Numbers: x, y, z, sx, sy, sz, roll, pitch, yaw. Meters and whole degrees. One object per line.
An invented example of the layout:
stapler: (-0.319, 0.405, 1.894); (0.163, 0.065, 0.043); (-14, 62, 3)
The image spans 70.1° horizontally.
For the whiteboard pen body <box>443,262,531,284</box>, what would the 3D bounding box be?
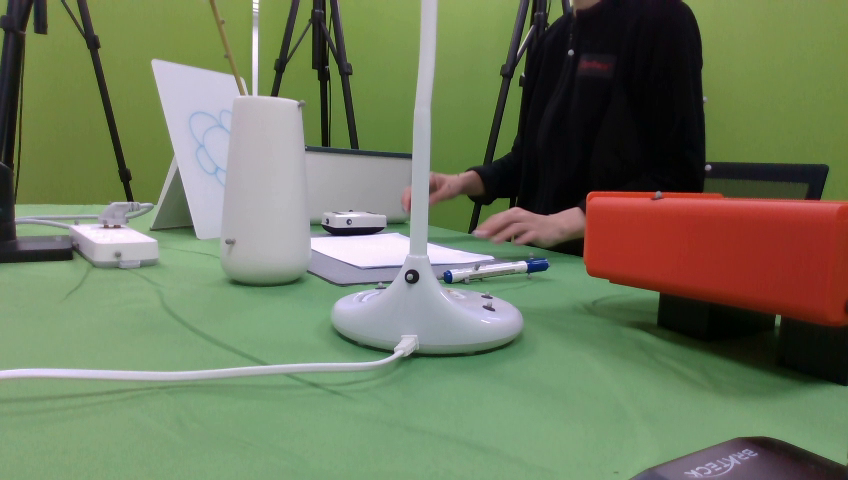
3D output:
whiteboard pen body: (0.088, 0.038, 0.733); (0.141, 0.017, 0.017); (-5, 10, -27)

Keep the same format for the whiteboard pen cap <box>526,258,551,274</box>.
whiteboard pen cap: (0.141, 0.033, 0.759); (0.033, 0.018, 0.018); (-8, 11, -26)

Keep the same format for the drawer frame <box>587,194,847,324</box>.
drawer frame: (0.285, 0.004, 0.508); (0.203, 0.082, 0.212); (-1, 6, -29)

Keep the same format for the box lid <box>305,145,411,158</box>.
box lid: (-0.228, -0.200, 1.361); (0.373, 0.015, 0.262); (-1, 8, -33)

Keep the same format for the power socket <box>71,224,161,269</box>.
power socket: (-0.408, 0.004, 0.793); (0.072, 0.032, 0.225); (-2, 8, -38)

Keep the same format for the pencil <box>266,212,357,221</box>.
pencil: (-0.244, -0.049, 1.319); (0.195, 0.012, 0.012); (3, 7, -12)

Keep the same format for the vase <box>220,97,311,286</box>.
vase: (-0.172, -0.052, 0.662); (0.098, 0.200, 0.098); (3, 8, 0)

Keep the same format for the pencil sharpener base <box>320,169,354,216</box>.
pencil sharpener base: (-0.207, -0.113, 1.439); (0.077, 0.107, 0.061); (1, 6, -11)

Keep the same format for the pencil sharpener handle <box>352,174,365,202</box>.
pencil sharpener handle: (-0.156, -0.125, 1.450); (0.031, 0.068, 0.036); (1, 20, -10)

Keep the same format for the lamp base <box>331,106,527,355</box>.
lamp base: (0.006, -0.012, 0.478); (0.161, 0.180, 0.179); (2, 10, 2)

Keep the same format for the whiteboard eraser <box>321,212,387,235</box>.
whiteboard eraser: (-0.128, -0.031, 1.108); (0.113, 0.042, 0.055); (-3, 7, -38)

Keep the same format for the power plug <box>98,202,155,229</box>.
power plug: (-0.416, -0.027, 0.848); (0.073, 0.052, 0.035); (0, 8, -28)

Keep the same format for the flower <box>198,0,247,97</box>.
flower: (-0.187, -0.133, 0.648); (0.038, 0.362, 0.044); (0, 22, 43)

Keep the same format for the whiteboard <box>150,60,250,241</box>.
whiteboard: (-0.408, -0.139, 1.093); (0.143, 0.305, 0.218); (-15, -1, 26)

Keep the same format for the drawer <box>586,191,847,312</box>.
drawer: (0.281, 0.001, 0.512); (0.195, 0.073, 0.210); (-1, 8, -29)

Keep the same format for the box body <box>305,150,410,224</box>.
box body: (-0.230, -0.126, 1.372); (0.366, 0.160, 0.253); (-2, 9, -33)
